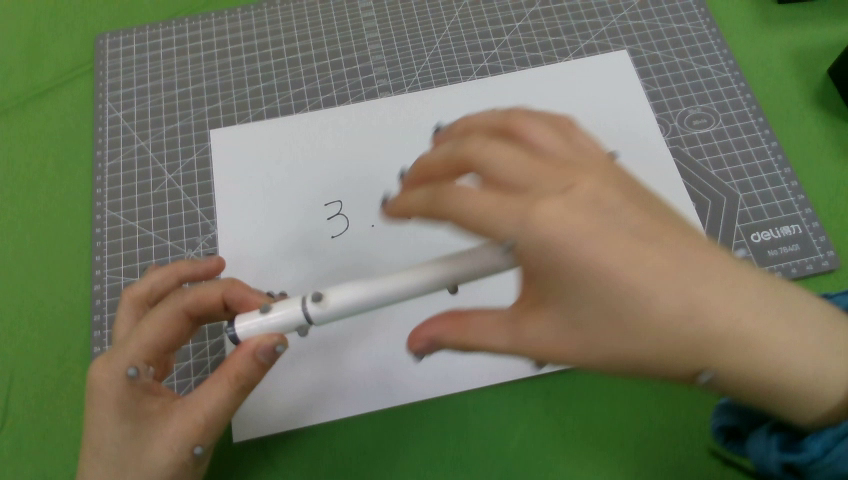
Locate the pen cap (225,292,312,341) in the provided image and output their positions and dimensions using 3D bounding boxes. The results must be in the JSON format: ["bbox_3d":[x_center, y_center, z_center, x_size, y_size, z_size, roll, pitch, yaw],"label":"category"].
[{"bbox_3d":[-0.072,0.036,0.281,0.038,0.017,0.017,-14,66,-1],"label":"pen cap"}]

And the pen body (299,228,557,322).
[{"bbox_3d":[-0.010,0.020,0.280,0.144,0.017,0.017,-15,66,2],"label":"pen body"}]
